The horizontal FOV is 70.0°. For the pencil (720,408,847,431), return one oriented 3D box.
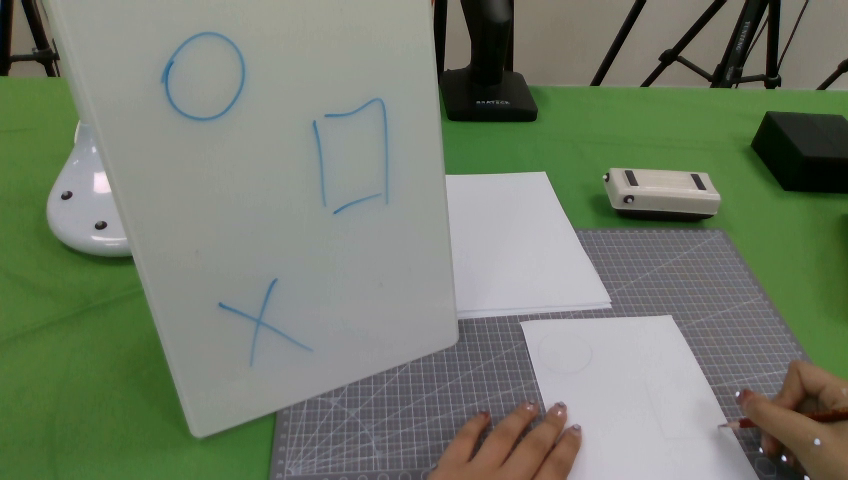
[{"bbox_3d":[0.284,0.113,0.395,0.012,0.194,0.012,16,61,-31],"label":"pencil"}]

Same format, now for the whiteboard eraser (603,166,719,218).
[{"bbox_3d":[0.257,-0.052,0.664,0.113,0.042,0.055,4,43,-2],"label":"whiteboard eraser"}]

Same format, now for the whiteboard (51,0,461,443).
[{"bbox_3d":[-0.108,-0.045,0.462,0.218,0.307,0.142,-16,27,-21],"label":"whiteboard"}]

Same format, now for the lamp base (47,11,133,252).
[{"bbox_3d":[-0.293,-0.107,0.562,0.178,0.182,0.160,27,46,26],"label":"lamp base"}]
